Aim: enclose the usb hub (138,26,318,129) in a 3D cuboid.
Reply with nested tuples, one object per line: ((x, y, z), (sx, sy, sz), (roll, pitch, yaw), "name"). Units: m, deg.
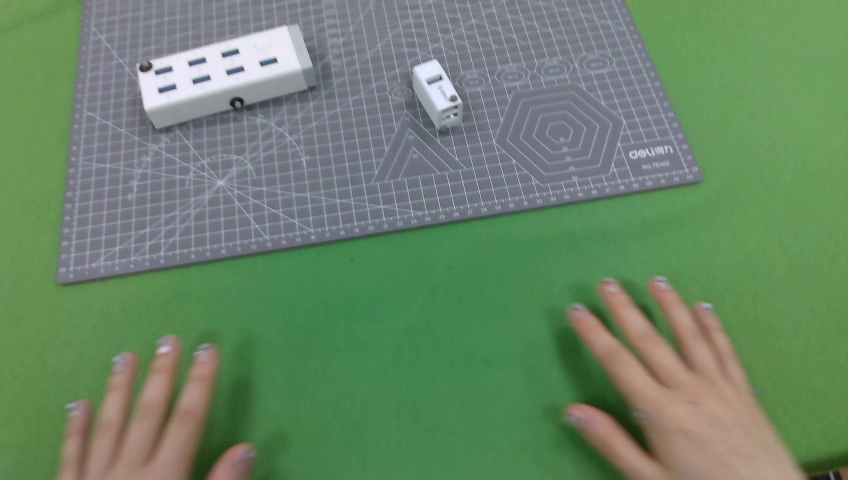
((-0.149, -0.126, 0.462), (0.125, 0.025, 0.049), (-17, 64, -9), "usb hub")

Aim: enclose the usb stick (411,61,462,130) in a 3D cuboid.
((0.007, -0.113, 0.456), (0.021, 0.027, 0.058), (-24, 63, -9), "usb stick")
